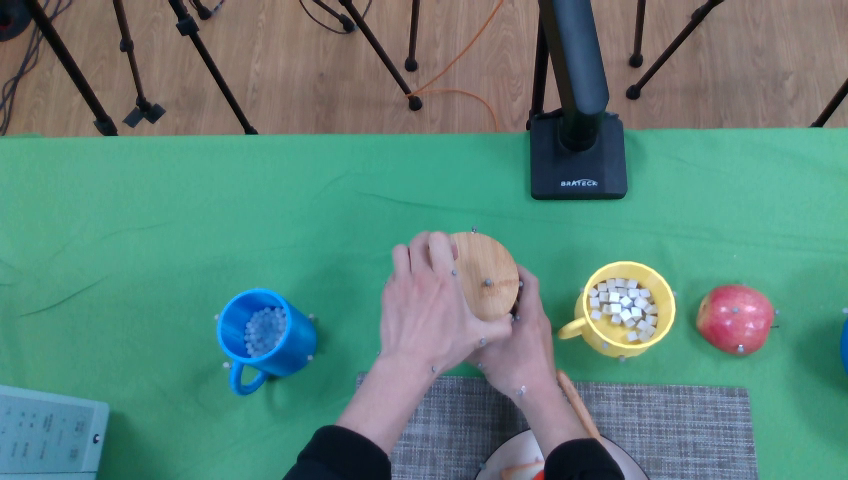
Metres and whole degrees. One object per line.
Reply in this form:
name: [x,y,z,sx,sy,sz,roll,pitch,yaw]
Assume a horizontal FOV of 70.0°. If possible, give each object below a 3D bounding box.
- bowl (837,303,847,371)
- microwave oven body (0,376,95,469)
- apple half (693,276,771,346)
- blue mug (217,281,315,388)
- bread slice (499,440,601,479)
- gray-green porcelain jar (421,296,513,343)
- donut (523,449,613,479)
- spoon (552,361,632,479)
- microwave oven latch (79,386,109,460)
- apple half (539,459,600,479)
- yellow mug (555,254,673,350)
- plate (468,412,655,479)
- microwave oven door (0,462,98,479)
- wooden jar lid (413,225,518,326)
bowl: [0.512,0.116,0.649,0.151,0.077,0.150,-2,72,6]
microwave oven body: [-0.557,0.347,0.573,0.326,0.262,0.439,1,72,6]
apple half: [0.355,0.077,0.691,0.074,0.054,0.080,22,75,15]
blue mug: [-0.187,0.116,0.701,0.082,0.106,0.116,21,74,12]
bread slice: [0.150,0.289,0.645,0.107,0.018,0.133,-16,71,2]
gray-green porcelain jar: [0.048,0.058,0.688,0.106,0.127,0.105,-1,71,5]
donut: [0.148,0.266,0.621,0.099,0.048,0.098,-2,71,5]
spoon: [0.188,0.217,0.647,0.041,0.022,0.193,-25,80,-3]
microwave oven latch: [-0.393,0.213,0.704,0.030,0.030,0.078,6,73,7]
apple half: [0.143,0.256,0.588,0.081,0.033,0.081,-4,71,12]
yellow mug: [0.212,0.078,0.697,0.131,0.064,0.099,-22,70,-1]
plate: [0.145,0.291,0.643,0.207,0.039,0.206,-2,72,5]
microwave oven door: [-0.414,0.387,0.540,0.039,0.245,0.353,1,71,7]
wooden jar lid: [0.042,0.037,0.629,0.108,0.021,0.107,-2,70,5]
